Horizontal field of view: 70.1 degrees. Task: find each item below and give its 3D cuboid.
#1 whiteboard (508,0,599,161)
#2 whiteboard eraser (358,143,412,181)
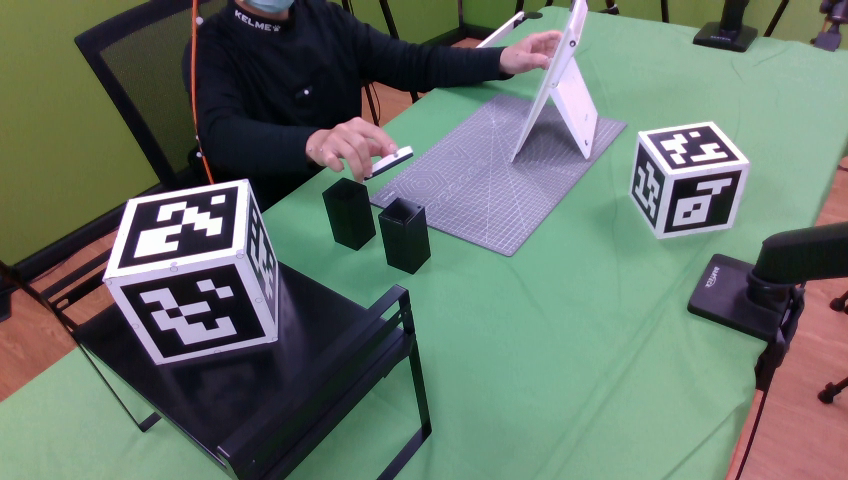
[{"bbox_3d":[0.285,-0.289,1.088,0.144,0.305,0.217,22,45,3],"label":"whiteboard"},{"bbox_3d":[-0.058,-0.116,0.893,0.101,0.019,0.041,-25,2,41],"label":"whiteboard eraser"}]
